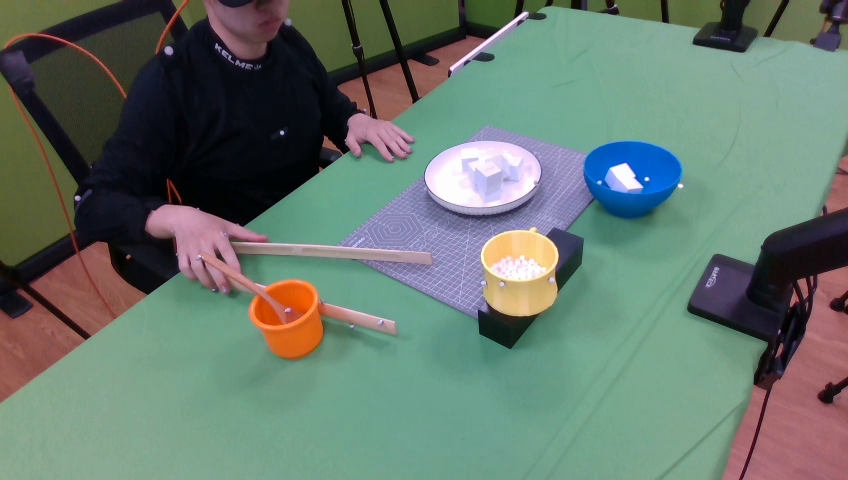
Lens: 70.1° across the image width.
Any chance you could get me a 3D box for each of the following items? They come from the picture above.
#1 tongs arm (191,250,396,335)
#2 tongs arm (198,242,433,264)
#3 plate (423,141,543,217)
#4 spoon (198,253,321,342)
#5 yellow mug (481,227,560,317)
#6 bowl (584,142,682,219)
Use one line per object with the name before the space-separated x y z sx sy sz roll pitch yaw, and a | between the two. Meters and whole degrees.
tongs arm | -0.204 0.074 0.903 0.382 0.026 0.051 11 45 22
tongs arm | -0.176 0.023 0.960 0.386 0.028 0.028 2 46 12
plate | 0.103 -0.103 1.059 0.207 0.039 0.206 -4 40 4
spoon | -0.220 0.075 0.814 0.021 0.194 0.041 -37 18 39
yellow mug | 0.131 0.032 0.801 0.099 0.064 0.131 11 43 20
bowl | 0.333 -0.087 0.980 0.151 0.077 0.150 -4 40 4
